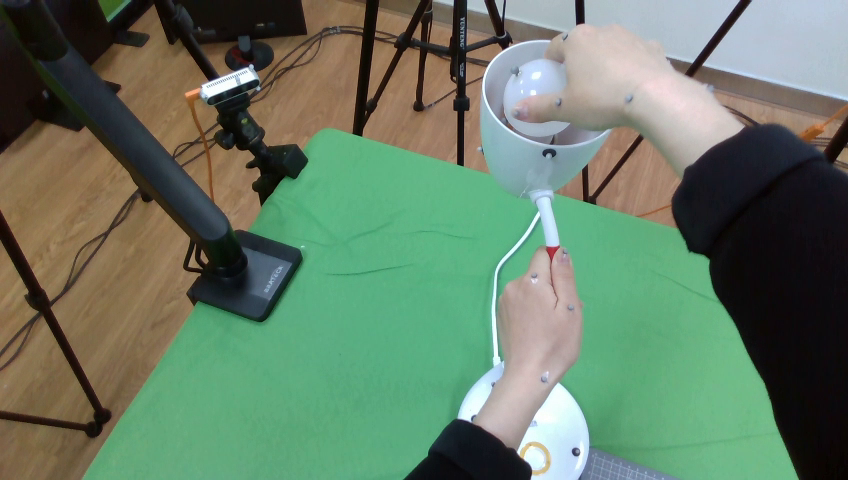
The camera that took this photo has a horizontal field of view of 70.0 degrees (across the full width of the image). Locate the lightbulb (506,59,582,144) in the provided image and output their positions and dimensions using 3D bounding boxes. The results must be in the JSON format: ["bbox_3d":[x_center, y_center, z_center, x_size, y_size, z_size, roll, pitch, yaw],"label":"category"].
[{"bbox_3d":[0.095,-0.101,0.500,0.059,0.108,0.059,-1,62,2],"label":"lightbulb"}]

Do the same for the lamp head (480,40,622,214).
[{"bbox_3d":[0.099,-0.086,0.521,0.112,0.124,0.111,1,56,-2],"label":"lamp head"}]

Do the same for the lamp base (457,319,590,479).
[{"bbox_3d":[0.115,0.178,0.675,0.161,0.182,0.177,-19,56,-13],"label":"lamp base"}]
